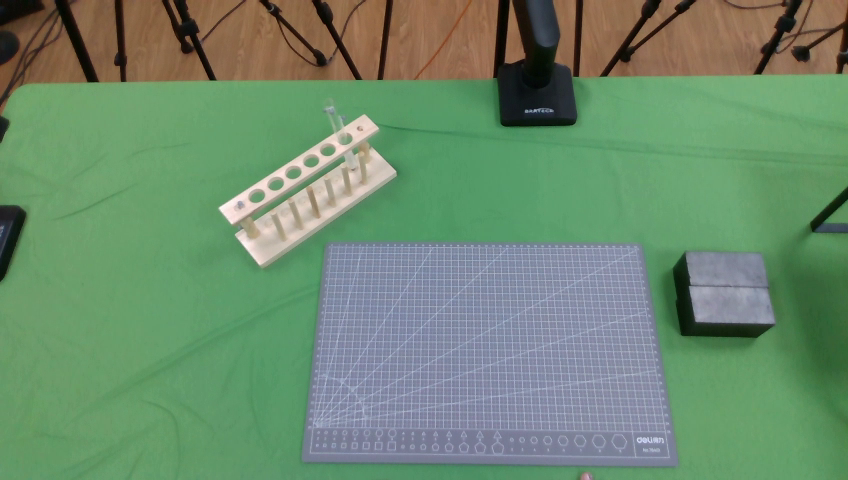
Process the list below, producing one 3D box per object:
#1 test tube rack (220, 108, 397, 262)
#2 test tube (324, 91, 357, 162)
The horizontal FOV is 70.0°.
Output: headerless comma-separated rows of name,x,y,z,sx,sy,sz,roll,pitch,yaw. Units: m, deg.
test tube rack,-0.155,-0.079,0.856,0.242,0.086,0.066,-37,67,-17
test tube,-0.113,-0.153,0.838,0.017,0.151,0.017,-2,65,5
